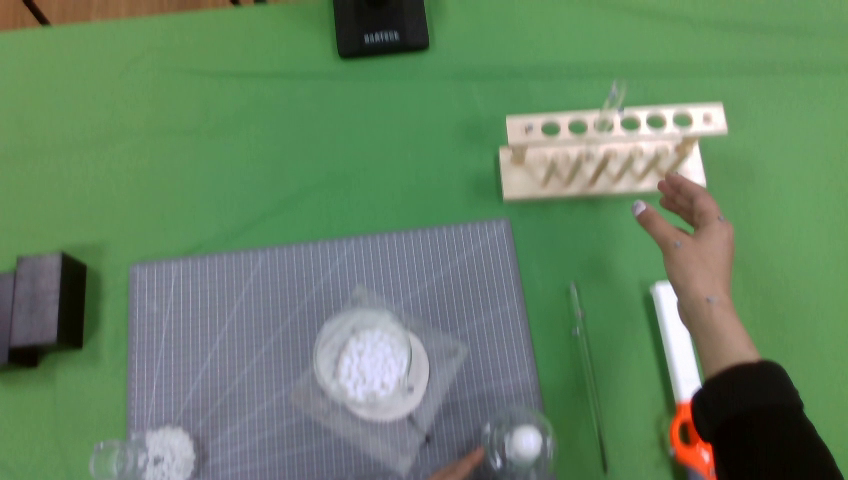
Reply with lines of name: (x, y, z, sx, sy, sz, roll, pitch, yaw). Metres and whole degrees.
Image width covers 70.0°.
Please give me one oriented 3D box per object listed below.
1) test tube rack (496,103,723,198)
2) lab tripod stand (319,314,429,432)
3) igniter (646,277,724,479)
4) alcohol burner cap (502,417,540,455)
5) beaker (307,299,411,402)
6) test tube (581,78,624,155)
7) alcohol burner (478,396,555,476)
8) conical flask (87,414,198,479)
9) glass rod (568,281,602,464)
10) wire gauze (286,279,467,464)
test tube rack: (0.212, -0.102, 0.707, 0.242, 0.085, 0.066, -3, 72, -1)
lab tripod stand: (-0.043, 0.132, 0.607, 0.148, 0.132, 0.147, 0, 74, 1)
igniter: (0.282, 0.175, 0.651, 0.057, 0.025, 0.274, -1, 72, -11)
alcohol burner cap: (0.092, 0.180, 0.564, 0.034, 0.048, 0.033, 1, 65, -2)
beaker: (-0.045, 0.097, 0.498, 0.083, 0.101, 0.074, 43, 78, 12)
test tube: (0.193, -0.130, 0.664, 0.017, 0.151, 0.017, -1, 72, 3)
alcohol burner: (0.092, 0.193, 0.598, 0.078, 0.120, 0.077, -1, 72, 3)
conical flask: (-0.277, 0.206, 0.590, 0.075, 0.122, 0.075, 0, 72, 0)
glass rod: (0.178, 0.143, 0.672, 0.008, 0.008, 0.198, -5, 75, -2)
wire gauze: (-0.041, 0.114, 0.543, 0.125, 0.011, 0.121, 29, 78, 7)
